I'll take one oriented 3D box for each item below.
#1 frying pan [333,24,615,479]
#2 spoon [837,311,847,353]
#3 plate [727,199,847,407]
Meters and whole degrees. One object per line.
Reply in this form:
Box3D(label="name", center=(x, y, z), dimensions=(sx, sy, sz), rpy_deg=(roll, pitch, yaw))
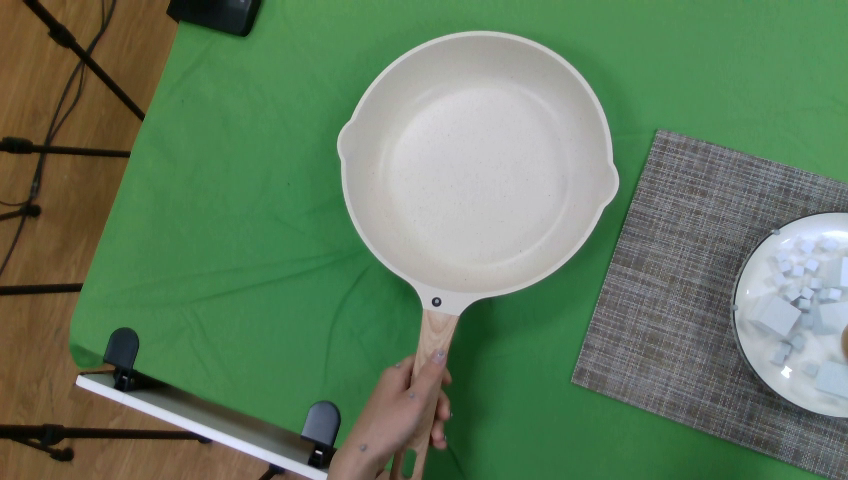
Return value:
Box3D(label="frying pan", center=(0.028, 0.010, 0.654), dimensions=(0.306, 0.103, 0.486), rpy_deg=(12, 78, 10))
Box3D(label="spoon", center=(0.383, 0.092, 0.497), dimensions=(0.021, 0.194, 0.041), rpy_deg=(8, 98, 11))
Box3D(label="plate", center=(0.418, 0.063, 0.621), dimensions=(0.207, 0.039, 0.207), rpy_deg=(-1, 84, 9))
